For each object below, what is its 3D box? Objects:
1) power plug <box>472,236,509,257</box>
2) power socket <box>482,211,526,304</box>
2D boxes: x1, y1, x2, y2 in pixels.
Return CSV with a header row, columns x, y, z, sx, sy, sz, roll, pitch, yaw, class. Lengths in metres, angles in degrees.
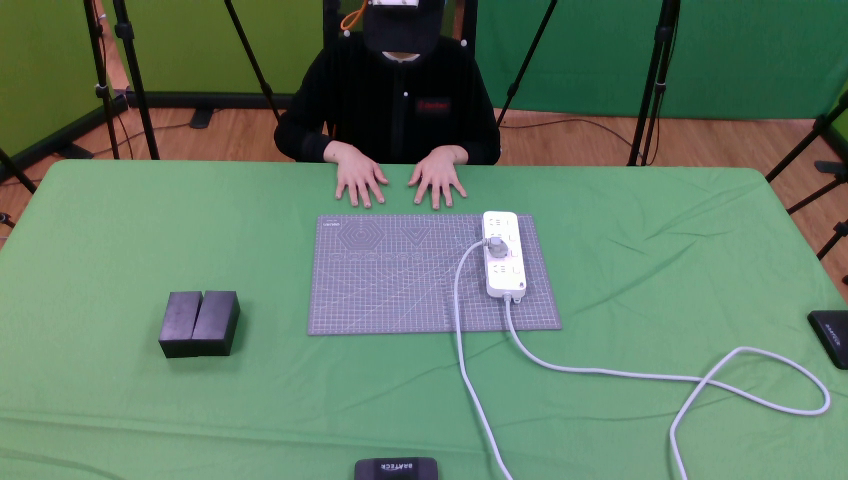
x,y,z,sx,sy,sz,roll,pitch,yaw,class
0.126,0.013,1.149,0.072,0.053,0.035,12,46,6,power plug
0.153,0.025,1.174,0.072,0.033,0.225,1,46,0,power socket
